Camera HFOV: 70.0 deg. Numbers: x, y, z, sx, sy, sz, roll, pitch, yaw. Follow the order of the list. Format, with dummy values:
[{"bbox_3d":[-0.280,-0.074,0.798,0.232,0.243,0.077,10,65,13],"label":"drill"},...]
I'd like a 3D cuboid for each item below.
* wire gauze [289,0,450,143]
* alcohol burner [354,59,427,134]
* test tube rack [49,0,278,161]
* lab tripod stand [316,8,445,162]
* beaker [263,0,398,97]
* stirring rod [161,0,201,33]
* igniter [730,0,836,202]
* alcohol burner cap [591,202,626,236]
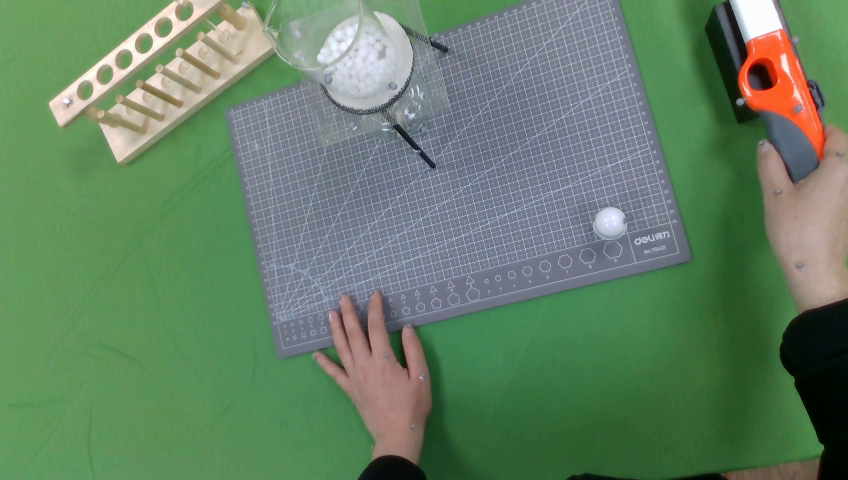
[{"bbox_3d":[-0.051,-0.158,0.529,0.125,0.011,0.121,-15,87,11],"label":"wire gauze"},{"bbox_3d":[-0.038,-0.148,0.604,0.078,0.119,0.078,-1,86,13],"label":"alcohol burner"},{"bbox_3d":[-0.296,-0.190,0.692,0.242,0.085,0.066,-32,80,11],"label":"test tube rack"},{"bbox_3d":[-0.034,-0.153,0.593,0.148,0.132,0.148,0,88,13],"label":"lab tripod stand"},{"bbox_3d":[-0.069,-0.159,0.484,0.084,0.100,0.074,-1,87,15],"label":"beaker"},{"bbox_3d":[-0.275,-0.256,0.608,0.006,0.177,0.014,-31,74,5],"label":"stirring rod"},{"bbox_3d":[0.291,-0.167,0.516,0.057,0.025,0.275,-16,81,15],"label":"igniter"},{"bbox_3d":[0.177,-0.022,0.579,0.034,0.048,0.034,-1,86,14],"label":"alcohol burner cap"}]
